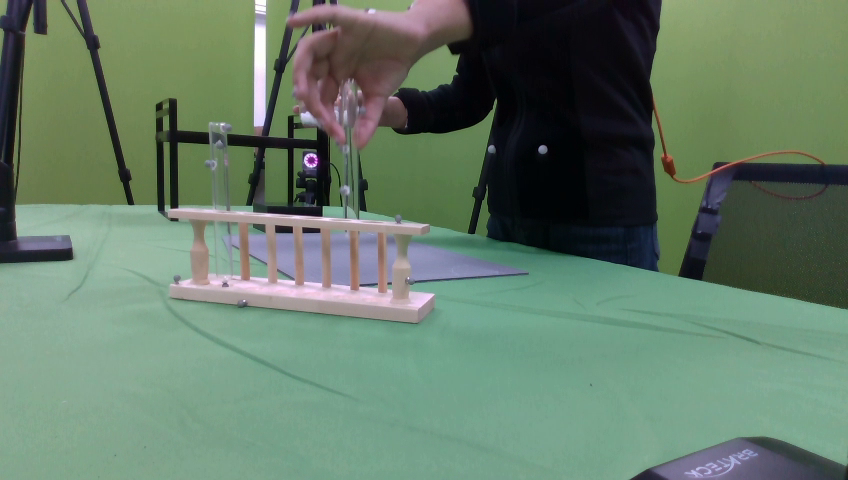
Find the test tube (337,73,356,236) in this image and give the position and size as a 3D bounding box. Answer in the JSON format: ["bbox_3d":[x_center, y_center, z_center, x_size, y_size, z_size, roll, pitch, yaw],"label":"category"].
[{"bbox_3d":[-0.072,-0.078,0.564,0.017,0.150,0.017,1,11,0],"label":"test tube"}]

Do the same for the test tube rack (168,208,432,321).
[{"bbox_3d":[-0.116,0.018,0.573,0.242,0.085,0.067,4,7,13],"label":"test tube rack"}]

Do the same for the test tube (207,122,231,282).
[{"bbox_3d":[-0.192,-0.034,0.564,0.017,0.150,0.017,1,11,0],"label":"test tube"}]

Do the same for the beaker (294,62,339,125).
[{"bbox_3d":[-0.181,-0.251,1.044,0.083,0.100,0.074,6,10,41],"label":"beaker"}]
